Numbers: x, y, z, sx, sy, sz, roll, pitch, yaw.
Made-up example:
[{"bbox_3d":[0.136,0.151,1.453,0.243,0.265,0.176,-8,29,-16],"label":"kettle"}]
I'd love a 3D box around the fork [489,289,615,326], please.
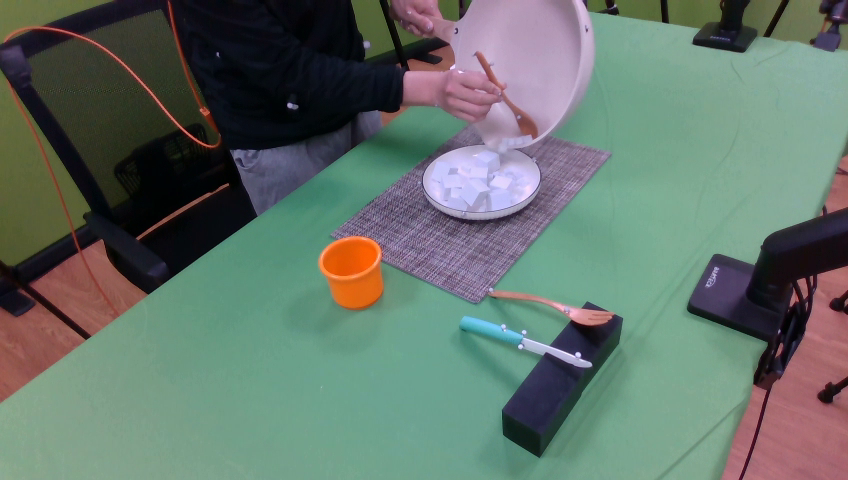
[{"bbox_3d":[0.161,0.085,0.800,0.205,0.019,0.028,12,50,48],"label":"fork"}]

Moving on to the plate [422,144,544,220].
[{"bbox_3d":[0.102,-0.097,1.048,0.207,0.039,0.206,-4,40,4],"label":"plate"}]

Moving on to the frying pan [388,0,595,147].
[{"bbox_3d":[0.099,-0.353,1.076,0.103,0.307,0.484,-15,40,-45],"label":"frying pan"}]

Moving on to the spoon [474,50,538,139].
[{"bbox_3d":[0.133,-0.230,0.972,0.041,0.195,0.021,20,74,48],"label":"spoon"}]

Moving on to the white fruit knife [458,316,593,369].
[{"bbox_3d":[0.120,0.127,0.757,0.205,0.027,0.016,12,45,43],"label":"white fruit knife"}]
